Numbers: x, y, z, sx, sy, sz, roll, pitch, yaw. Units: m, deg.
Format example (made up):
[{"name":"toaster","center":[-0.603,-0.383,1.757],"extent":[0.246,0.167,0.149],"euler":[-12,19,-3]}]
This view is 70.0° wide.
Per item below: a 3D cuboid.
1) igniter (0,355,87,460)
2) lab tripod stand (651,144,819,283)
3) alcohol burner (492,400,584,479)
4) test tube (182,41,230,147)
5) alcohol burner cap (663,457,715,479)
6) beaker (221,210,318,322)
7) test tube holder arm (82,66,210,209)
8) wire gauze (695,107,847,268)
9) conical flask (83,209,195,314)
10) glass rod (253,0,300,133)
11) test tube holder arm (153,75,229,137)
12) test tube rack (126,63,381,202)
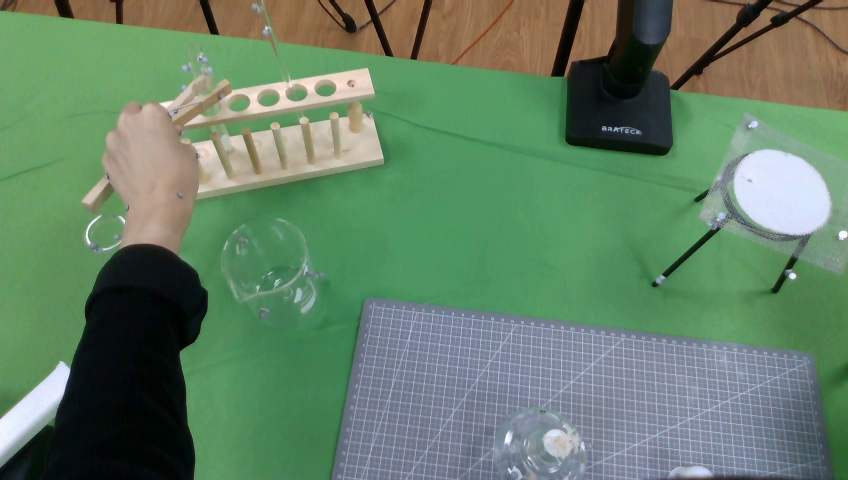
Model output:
[{"name":"igniter","center":[-0.384,0.203,0.465],"extent":[0.057,0.025,0.276],"euler":[33,67,23]},{"name":"lab tripod stand","center":[0.304,-0.018,0.588],"extent":[0.148,0.132,0.147],"euler":[2,64,-3]},{"name":"alcohol burner","center":[0.098,0.168,0.500],"extent":[0.078,0.120,0.077],"euler":[2,63,-3]},{"name":"test tube","center":[-0.213,-0.138,0.598],"extent":[0.017,0.151,0.017],"euler":[3,64,-5]},{"name":"alcohol burner cap","center":[0.233,0.204,0.528],"extent":[0.034,0.048,0.033],"euler":[1,65,-2]},{"name":"beaker","center":[-0.141,0.032,0.568],"extent":[0.074,0.101,0.083],"euler":[21,66,9]},{"name":"test tube holder arm","center":[-0.243,-0.096,0.542],"extent":[0.013,0.015,0.177],"euler":[23,57,5]},{"name":"wire gauze","center":[0.314,-0.048,0.527],"extent":[0.121,0.011,0.124],"euler":[27,68,9]},{"name":"conical flask","center":[-0.266,0.016,0.558],"extent":[0.075,0.123,0.074],"euler":[1,64,-1]},{"name":"glass rod","center":[-0.143,-0.171,0.597],"extent":[0.008,0.201,0.008],"euler":[-2,58,3]},{"name":"test tube holder arm","center":[-0.218,-0.125,0.565],"extent":[0.010,0.015,0.087],"euler":[37,59,13]},{"name":"test tube rack","center":[-0.173,-0.113,0.642],"extent":[0.243,0.086,0.066],"euler":[-12,65,-8]}]
